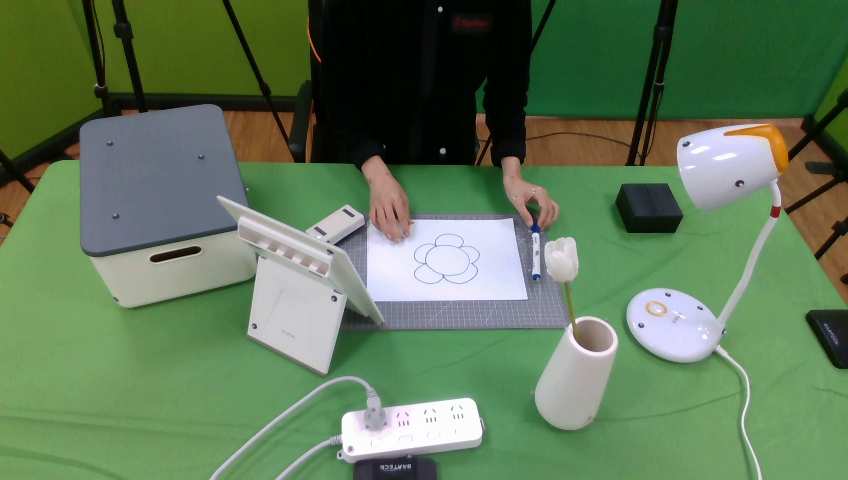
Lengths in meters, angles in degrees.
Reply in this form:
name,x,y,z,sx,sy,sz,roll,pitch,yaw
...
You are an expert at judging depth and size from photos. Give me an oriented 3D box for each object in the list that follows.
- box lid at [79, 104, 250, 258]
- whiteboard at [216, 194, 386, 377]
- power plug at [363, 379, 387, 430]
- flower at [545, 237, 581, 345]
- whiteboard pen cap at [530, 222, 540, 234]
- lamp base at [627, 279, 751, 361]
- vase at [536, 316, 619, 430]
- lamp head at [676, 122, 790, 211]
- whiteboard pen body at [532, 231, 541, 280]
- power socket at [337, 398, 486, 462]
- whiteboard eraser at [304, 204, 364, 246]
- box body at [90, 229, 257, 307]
name,x,y,z,sx,sy,sz,roll,pitch,yaw
box lid,-0.467,-0.121,1.075,0.264,0.015,0.369,-13,49,-17
whiteboard,-0.212,0.093,0.939,0.216,0.307,0.143,24,70,17
power plug,-0.071,0.252,0.911,0.035,0.053,0.072,3,40,0
flower,0.213,0.137,0.846,0.038,0.364,0.044,21,55,40
whiteboard pen cap,0.224,-0.020,1.223,0.018,0.018,0.033,4,33,-1
lamp base,0.460,0.100,1.027,0.178,0.181,0.160,27,51,17
vase,0.229,0.200,0.901,0.098,0.201,0.097,3,46,-3
lamp head,0.423,-0.104,0.819,0.122,0.113,0.112,-13,33,40
whiteboard pen body,0.219,0.022,1.183,0.017,0.017,0.140,7,48,2
power socket,-0.018,0.285,0.914,0.227,0.033,0.071,-4,46,-8
whiteboard eraser,-0.175,-0.022,1.188,0.055,0.042,0.112,36,53,26
box body,-0.471,-0.070,1.131,0.254,0.161,0.361,-14,49,-17
